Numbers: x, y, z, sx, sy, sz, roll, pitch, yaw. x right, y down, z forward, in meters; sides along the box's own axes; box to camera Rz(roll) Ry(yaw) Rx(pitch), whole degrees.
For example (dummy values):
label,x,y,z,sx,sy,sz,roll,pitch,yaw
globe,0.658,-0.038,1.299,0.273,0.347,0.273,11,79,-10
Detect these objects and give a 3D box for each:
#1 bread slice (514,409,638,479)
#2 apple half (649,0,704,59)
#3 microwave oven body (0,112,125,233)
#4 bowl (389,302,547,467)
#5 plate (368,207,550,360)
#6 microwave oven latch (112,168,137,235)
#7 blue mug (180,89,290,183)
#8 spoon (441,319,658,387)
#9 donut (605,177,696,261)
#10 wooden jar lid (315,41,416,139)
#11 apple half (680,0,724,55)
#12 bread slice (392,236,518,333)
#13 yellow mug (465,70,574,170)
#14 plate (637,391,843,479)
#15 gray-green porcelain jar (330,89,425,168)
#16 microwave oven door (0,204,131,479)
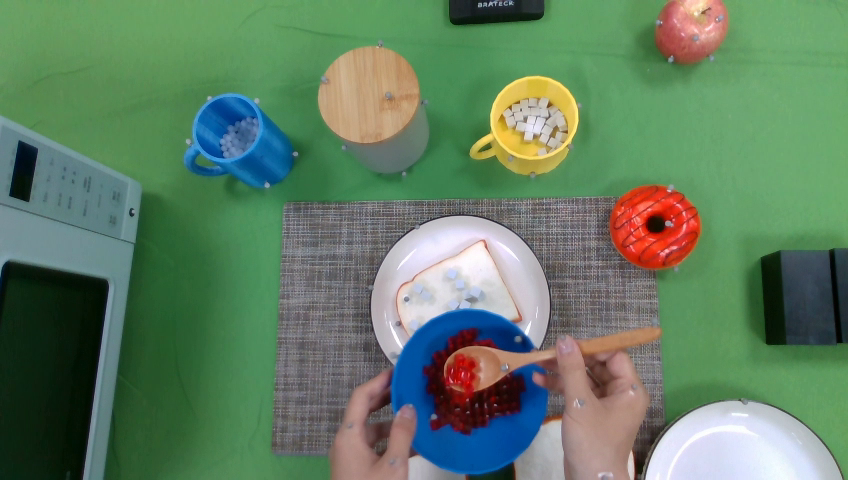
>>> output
label,x,y,z,sx,sy,sz,roll,pitch,yaw
bread slice,0.162,0.237,0.640,0.135,0.018,0.106,-5,77,-15
apple half,0.285,-0.239,0.707,0.033,0.081,0.081,-33,79,-5
microwave oven body,-0.545,0.105,0.644,0.326,0.261,0.440,3,82,6
bowl,0.036,0.140,0.597,0.152,0.077,0.150,2,78,-9
plate,0.040,0.066,0.702,0.207,0.039,0.207,-1,81,6
microwave oven latch,-0.376,-0.048,0.748,0.030,0.029,0.079,4,82,6
blue mug,-0.232,-0.115,0.727,0.116,0.106,0.082,-26,79,2
spoon,0.107,0.097,0.535,0.193,0.022,0.041,-15,82,21
donut,0.256,-0.024,0.689,0.099,0.048,0.098,-1,82,6
wooden jar lid,-0.061,-0.157,0.642,0.108,0.021,0.108,-1,79,6
apple half,0.317,-0.261,0.709,0.053,0.075,0.080,-32,75,-5
bread slice,0.031,0.068,0.704,0.131,0.019,0.104,-26,78,0
yellow mug,0.109,-0.133,0.715,0.131,0.064,0.099,-25,79,2
plate,0.330,0.265,0.644,0.209,0.038,0.208,-1,81,7
gray-green porcelain jar,-0.054,-0.146,0.703,0.106,0.127,0.105,-1,81,6
microwave oven door,-0.403,0.153,0.616,0.039,0.245,0.354,2,81,7
